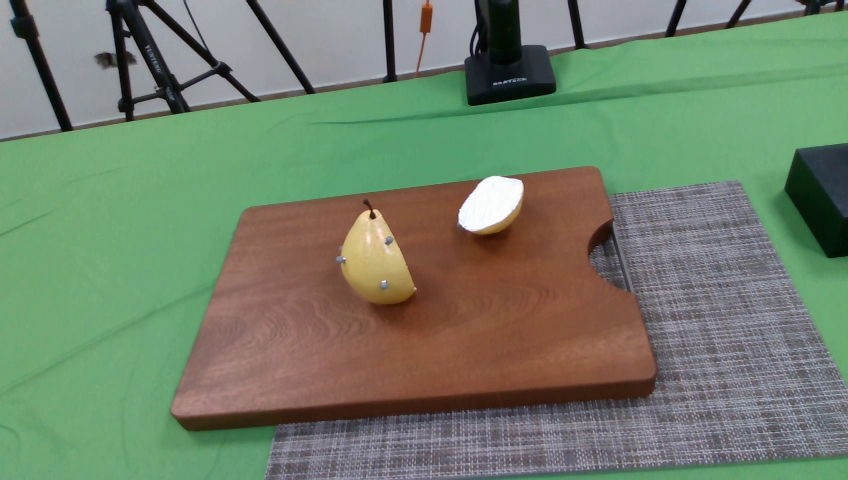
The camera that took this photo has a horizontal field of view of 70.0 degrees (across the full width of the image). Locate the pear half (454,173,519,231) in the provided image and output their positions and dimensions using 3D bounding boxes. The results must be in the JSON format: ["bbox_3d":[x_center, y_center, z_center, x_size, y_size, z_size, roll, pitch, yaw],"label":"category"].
[{"bbox_3d":[0.066,-0.034,0.599,0.070,0.031,0.087,-19,28,17],"label":"pear half"}]

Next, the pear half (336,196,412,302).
[{"bbox_3d":[-0.051,0.008,0.530,0.056,0.111,0.075,-28,42,-14],"label":"pear half"}]
